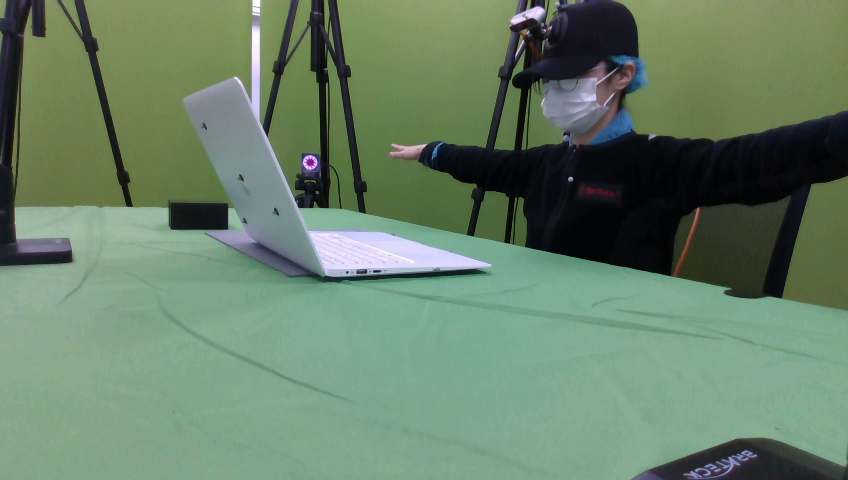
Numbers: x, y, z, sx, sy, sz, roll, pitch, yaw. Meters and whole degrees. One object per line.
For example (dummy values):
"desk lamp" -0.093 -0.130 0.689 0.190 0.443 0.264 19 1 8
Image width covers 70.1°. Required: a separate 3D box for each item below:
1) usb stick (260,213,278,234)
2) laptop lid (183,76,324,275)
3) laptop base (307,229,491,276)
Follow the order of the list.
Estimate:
"usb stick" -0.260 -0.025 1.016 0.021 0.027 0.059 1 19 -27
"laptop lid" -0.237 -0.085 0.791 0.013 0.242 0.355 -30 23 -23
"laptop base" -0.094 0.015 0.888 0.237 0.023 0.352 2 7 -30
